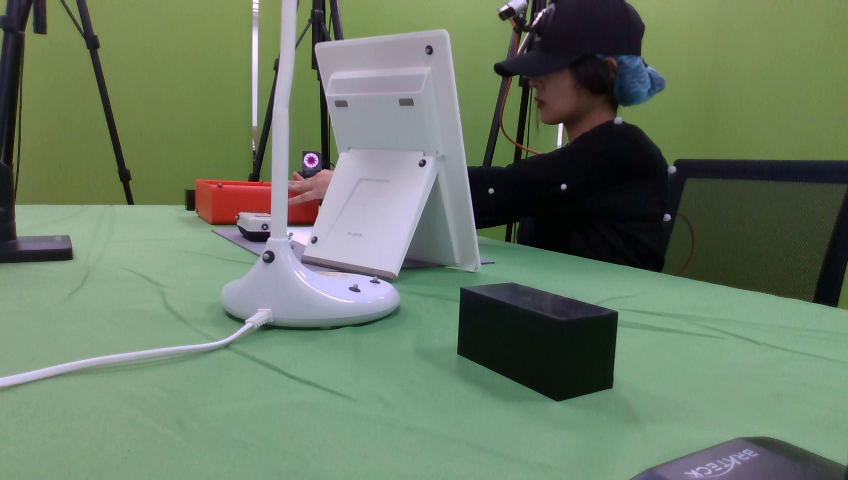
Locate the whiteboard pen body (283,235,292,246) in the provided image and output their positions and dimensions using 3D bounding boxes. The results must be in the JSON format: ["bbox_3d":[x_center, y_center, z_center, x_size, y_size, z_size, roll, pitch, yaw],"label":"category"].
[{"bbox_3d":[-0.206,0.005,0.872,0.017,0.017,0.140,2,4,-6],"label":"whiteboard pen body"}]

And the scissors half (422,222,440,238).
[{"bbox_3d":[0.013,-0.017,1.217,0.040,0.013,0.175,16,9,0],"label":"scissors half"}]

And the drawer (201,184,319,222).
[{"bbox_3d":[-0.353,-0.081,1.295,0.213,0.073,0.193,-2,9,-28],"label":"drawer"}]

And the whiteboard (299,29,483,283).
[{"bbox_3d":[-0.074,-0.082,0.742,0.216,0.305,0.144,9,29,38],"label":"whiteboard"}]

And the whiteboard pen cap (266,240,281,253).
[{"bbox_3d":[-0.202,0.009,0.813,0.018,0.018,0.033,1,3,-8],"label":"whiteboard pen cap"}]

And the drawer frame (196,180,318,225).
[{"bbox_3d":[-0.359,-0.083,1.292,0.215,0.082,0.200,-2,10,-30],"label":"drawer frame"}]

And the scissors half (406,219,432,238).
[{"bbox_3d":[-0.006,-0.022,1.215,0.040,0.013,0.174,8,9,-16],"label":"scissors half"}]

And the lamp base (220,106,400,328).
[{"bbox_3d":[-0.101,-0.023,0.531,0.160,0.180,0.179,4,10,10],"label":"lamp base"}]

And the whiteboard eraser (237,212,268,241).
[{"bbox_3d":[-0.272,-0.023,0.998,0.056,0.042,0.112,-3,9,-26],"label":"whiteboard eraser"}]
